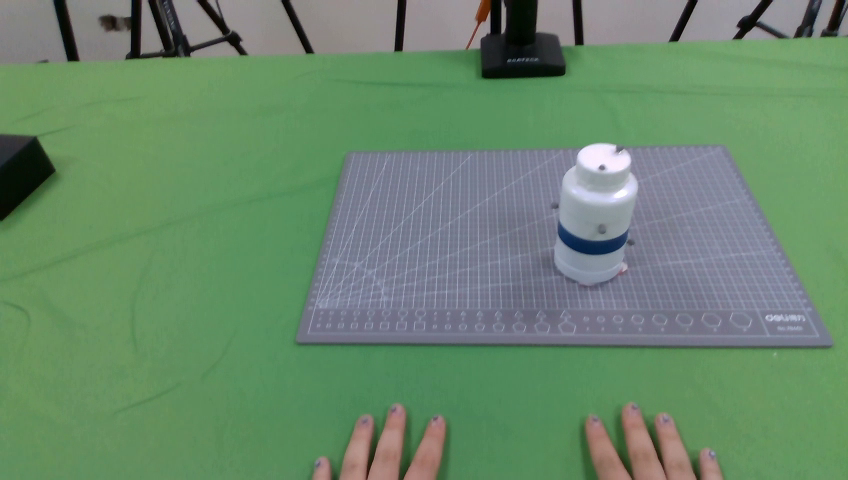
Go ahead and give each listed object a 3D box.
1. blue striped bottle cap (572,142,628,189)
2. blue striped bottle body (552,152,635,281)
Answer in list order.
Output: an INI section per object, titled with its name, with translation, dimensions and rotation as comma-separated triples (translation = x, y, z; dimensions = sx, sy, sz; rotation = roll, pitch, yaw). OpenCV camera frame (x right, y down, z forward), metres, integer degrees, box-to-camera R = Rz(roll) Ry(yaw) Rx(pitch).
[blue striped bottle cap]
translation = 0.147, -0.063, 0.505
dimensions = 0.044, 0.021, 0.044
rotation = -1, 43, 1
[blue striped bottle body]
translation = 0.150, -0.025, 0.539
dimensions = 0.063, 0.122, 0.062
rotation = -2, 42, 2
